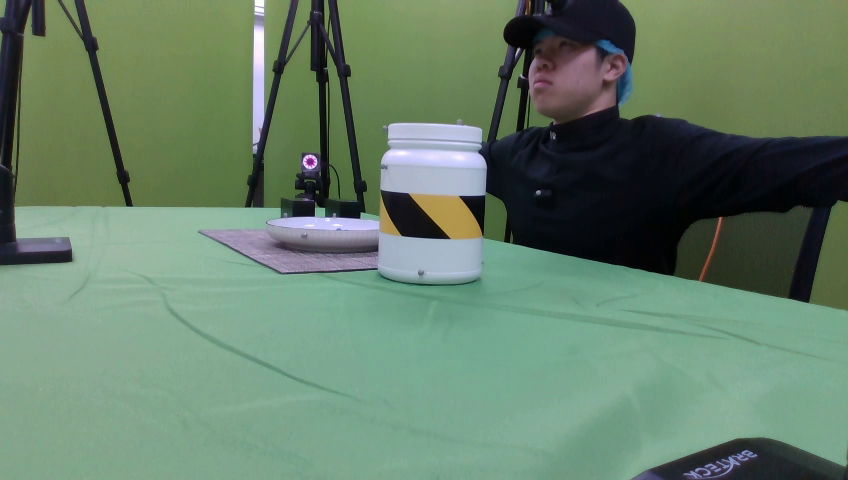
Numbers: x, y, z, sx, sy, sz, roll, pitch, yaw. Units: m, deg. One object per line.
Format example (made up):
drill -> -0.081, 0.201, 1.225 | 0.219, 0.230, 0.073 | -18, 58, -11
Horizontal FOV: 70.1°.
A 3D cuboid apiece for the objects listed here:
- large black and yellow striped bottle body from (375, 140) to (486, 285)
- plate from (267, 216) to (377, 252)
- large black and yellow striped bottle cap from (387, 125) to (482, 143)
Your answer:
large black and yellow striped bottle body -> 0.008, -0.044, 0.744 | 0.131, 0.184, 0.130 | 3, 7, 0
plate -> -0.145, -0.010, 0.967 | 0.208, 0.039, 0.207 | 2, 7, 0
large black and yellow striped bottle cap -> 0.012, -0.127, 0.731 | 0.115, 0.019, 0.115 | 1, 6, 0
